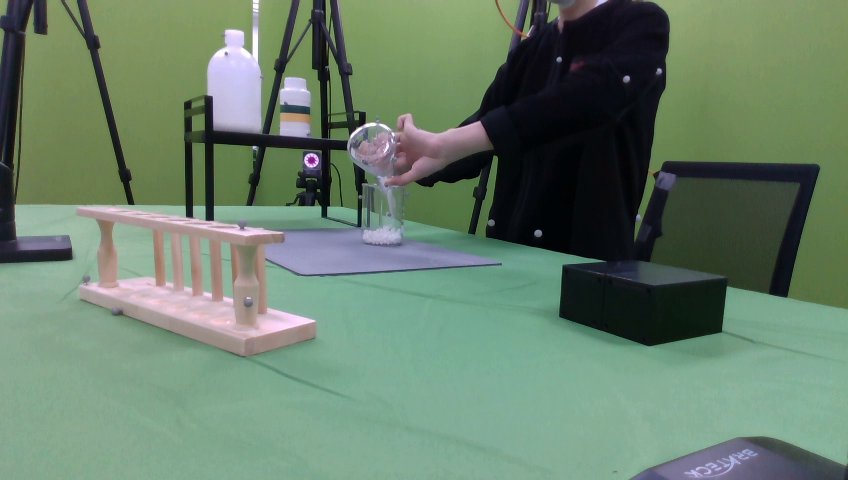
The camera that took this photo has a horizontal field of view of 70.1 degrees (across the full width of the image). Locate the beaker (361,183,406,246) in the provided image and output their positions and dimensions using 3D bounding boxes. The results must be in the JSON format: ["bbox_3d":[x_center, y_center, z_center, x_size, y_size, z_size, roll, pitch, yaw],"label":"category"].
[{"bbox_3d":[-0.067,-0.042,0.993,0.074,0.100,0.084,1,8,-8],"label":"beaker"}]

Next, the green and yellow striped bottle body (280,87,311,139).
[{"bbox_3d":[-0.269,-0.274,1.266,0.063,0.119,0.063,3,7,0],"label":"green and yellow striped bottle body"}]

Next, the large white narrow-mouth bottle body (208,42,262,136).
[{"bbox_3d":[-0.369,-0.304,1.181,0.102,0.194,0.101,2,9,0],"label":"large white narrow-mouth bottle body"}]

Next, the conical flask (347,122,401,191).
[{"bbox_3d":[-0.067,-0.119,0.931,0.075,0.075,0.122,4,-23,13],"label":"conical flask"}]

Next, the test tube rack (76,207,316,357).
[{"bbox_3d":[-0.196,0.023,0.500,0.241,0.085,0.067,8,9,36],"label":"test tube rack"}]

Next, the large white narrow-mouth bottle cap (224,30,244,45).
[{"bbox_3d":[-0.365,-0.389,1.166,0.038,0.024,0.037,2,9,0],"label":"large white narrow-mouth bottle cap"}]

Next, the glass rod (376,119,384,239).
[{"bbox_3d":[-0.074,-0.101,1.007,0.008,0.199,0.008,-2,3,0],"label":"glass rod"}]

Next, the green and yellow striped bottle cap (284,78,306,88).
[{"bbox_3d":[-0.268,-0.325,1.259,0.045,0.020,0.045,5,8,0],"label":"green and yellow striped bottle cap"}]
